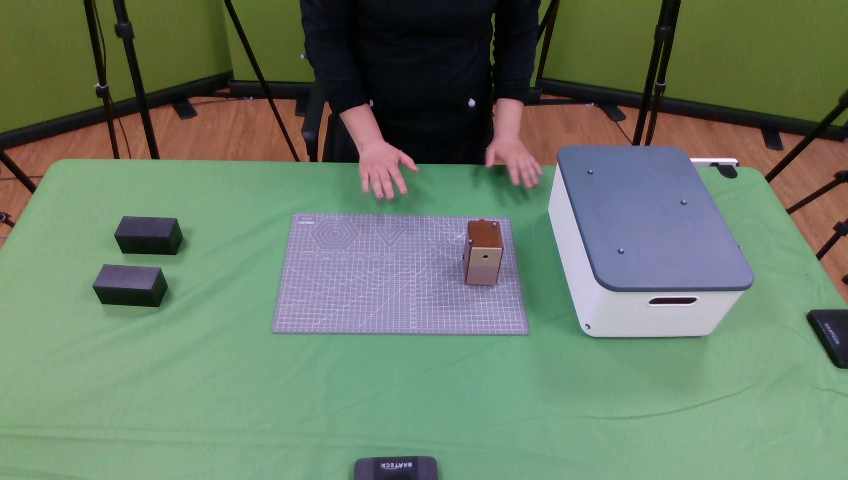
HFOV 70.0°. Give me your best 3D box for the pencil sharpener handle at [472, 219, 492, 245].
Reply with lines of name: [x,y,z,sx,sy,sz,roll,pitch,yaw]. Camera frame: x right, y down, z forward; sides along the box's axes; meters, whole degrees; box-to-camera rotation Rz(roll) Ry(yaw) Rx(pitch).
pencil sharpener handle: [0.104,-0.021,1.145,0.036,0.068,0.030,7,44,-8]

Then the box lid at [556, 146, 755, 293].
box lid: [0.394,-0.051,1.075,0.263,0.015,0.369,0,46,-4]

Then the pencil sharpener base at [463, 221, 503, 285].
pencil sharpener base: [0.107,0.024,1.119,0.061,0.107,0.076,1,45,-2]

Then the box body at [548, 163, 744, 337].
box body: [0.391,-0.001,1.130,0.254,0.161,0.361,-1,46,-4]
